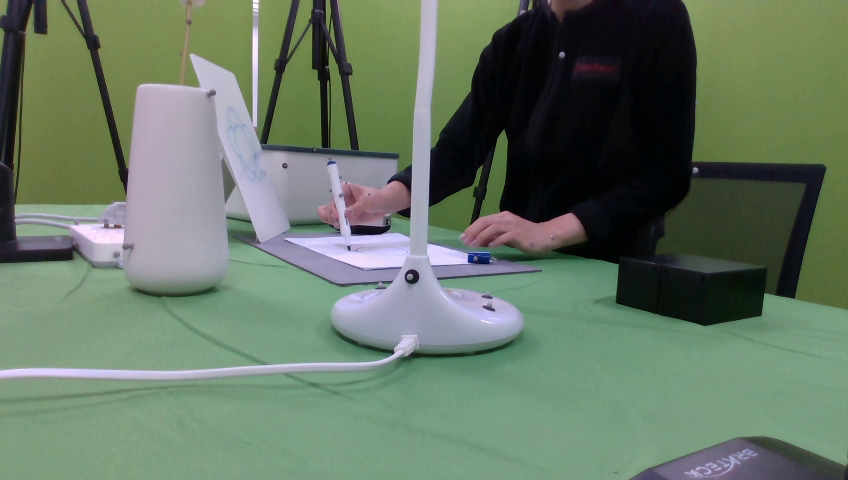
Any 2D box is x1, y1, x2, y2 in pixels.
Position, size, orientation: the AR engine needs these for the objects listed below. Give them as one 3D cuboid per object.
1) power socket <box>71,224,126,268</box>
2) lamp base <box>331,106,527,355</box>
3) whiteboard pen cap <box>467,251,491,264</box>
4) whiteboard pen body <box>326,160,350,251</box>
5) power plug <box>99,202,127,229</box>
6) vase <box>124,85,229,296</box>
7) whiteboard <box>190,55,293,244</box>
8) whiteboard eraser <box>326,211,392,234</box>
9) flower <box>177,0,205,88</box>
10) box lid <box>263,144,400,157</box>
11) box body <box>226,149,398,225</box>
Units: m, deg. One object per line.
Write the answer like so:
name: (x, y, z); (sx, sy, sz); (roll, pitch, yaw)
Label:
power socket: (-0.409, 0.004, 0.793); (0.072, 0.032, 0.225); (-2, 8, -37)
lamp base: (0.006, -0.012, 0.478); (0.161, 0.180, 0.179); (2, 10, 2)
whiteboard pen cap: (0.077, 0.024, 0.841); (0.033, 0.018, 0.018); (0, 7, 4)
whiteboard pen body: (-0.127, -0.052, 0.910); (0.017, 0.140, 0.017); (-12, -6, -1)
power plug: (-0.415, -0.026, 0.848); (0.073, 0.052, 0.035); (6, 5, -28)
vase: (-0.244, -0.047, 0.598); (0.098, 0.200, 0.098); (3, 8, 0)
whiteboard: (-0.362, -0.129, 1.029); (0.144, 0.305, 0.217); (-18, 7, 3)
whiteboard eraser: (-0.120, -0.033, 1.131); (0.112, 0.042, 0.056); (4, 8, 13)
flower: (-0.243, -0.131, 0.609); (0.044, 0.361, 0.038); (-5, -12, 11)
box lid: (-0.263, -0.203, 1.369); (0.262, 0.015, 0.373); (9, 10, 39)
box body: (-0.265, -0.129, 1.380); (0.253, 0.160, 0.366); (8, 9, 39)
